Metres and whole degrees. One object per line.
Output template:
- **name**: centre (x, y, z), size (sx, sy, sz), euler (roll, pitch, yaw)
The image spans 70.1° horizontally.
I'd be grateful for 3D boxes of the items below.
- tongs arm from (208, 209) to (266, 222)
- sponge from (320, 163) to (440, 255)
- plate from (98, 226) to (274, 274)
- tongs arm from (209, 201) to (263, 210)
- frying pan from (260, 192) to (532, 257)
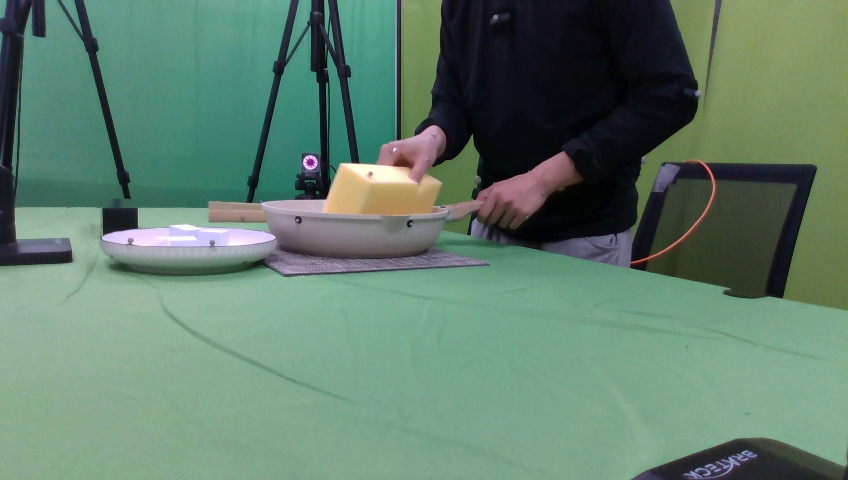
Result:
- **tongs arm**: centre (-0.280, -0.056, 1.355), size (0.389, 0.028, 0.028), euler (-1, 6, -28)
- **sponge**: centre (-0.068, -0.052, 0.925), size (0.060, 0.118, 0.208), euler (32, 19, 23)
- **plate**: centre (-0.301, 0.012, 0.778), size (0.208, 0.039, 0.207), euler (3, 7, 0)
- **tongs arm**: centre (-0.306, -0.070, 1.430), size (0.386, 0.026, 0.050), euler (1, 8, -15)
- **frying pan**: centre (-0.017, -0.044, 1.006), size (0.490, 0.102, 0.305), euler (-11, 13, -26)
